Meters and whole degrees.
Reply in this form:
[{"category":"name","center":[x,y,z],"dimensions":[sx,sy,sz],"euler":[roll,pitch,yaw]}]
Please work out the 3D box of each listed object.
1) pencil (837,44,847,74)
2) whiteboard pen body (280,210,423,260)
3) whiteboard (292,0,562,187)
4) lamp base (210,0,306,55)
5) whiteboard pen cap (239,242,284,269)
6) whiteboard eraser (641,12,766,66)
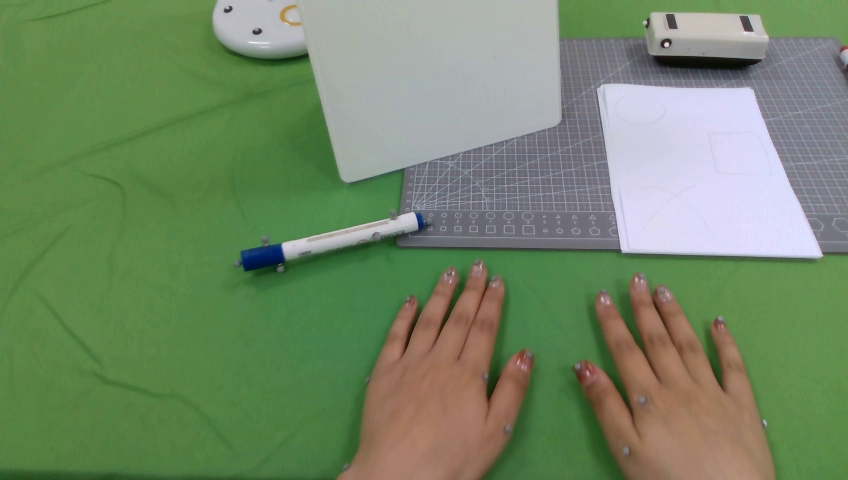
[{"category":"pencil","center":[0.416,-0.123,0.568],"dimensions":[0.012,0.012,0.192],"euler":[6,53,8]},{"category":"whiteboard pen body","center":[-0.069,-0.002,0.484],"dimensions":[0.141,0.017,0.017],"euler":[-14,51,-10]},{"category":"whiteboard","center":[-0.014,-0.237,0.530],"dimensions":[0.217,0.308,0.142],"euler":[-16,32,-9]},{"category":"lamp base","center":[-0.178,-0.319,0.648],"dimensions":[0.177,0.182,0.160],"euler":[35,60,30]},{"category":"whiteboard pen cap","center":[-0.126,0.011,0.473],"dimensions":[0.033,0.018,0.018],"euler":[-13,51,-13]},{"category":"whiteboard eraser","center":[0.284,-0.206,0.621],"dimensions":[0.112,0.042,0.055],"euler":[4,52,6]}]
